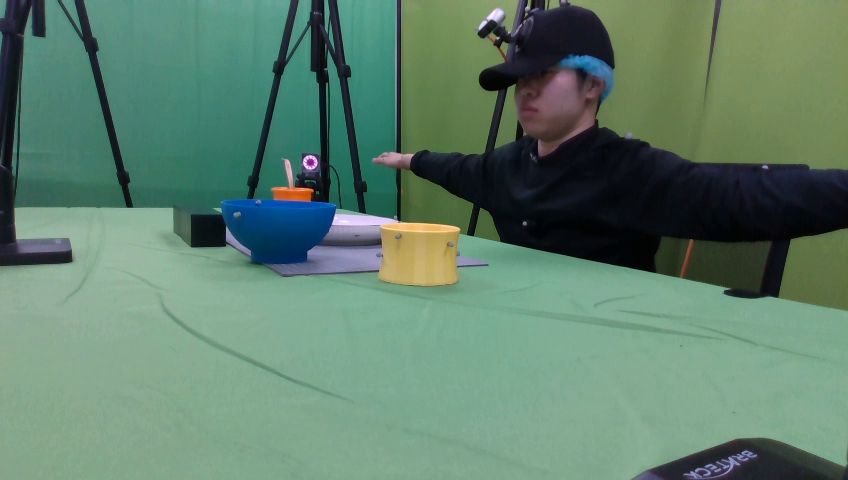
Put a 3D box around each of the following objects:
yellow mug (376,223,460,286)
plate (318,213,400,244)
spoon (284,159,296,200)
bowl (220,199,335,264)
[{"bbox_3d":[-0.002,0.014,0.754,0.099,0.064,0.131,5,7,20],"label":"yellow mug"},{"bbox_3d":[-0.147,-0.020,1.060,0.209,0.038,0.209,3,7,0],"label":"plate"},{"bbox_3d":[-0.302,-0.118,1.370,0.042,0.193,0.021,4,-39,-24],"label":"spoon"},{"bbox_3d":[-0.197,-0.012,0.819,0.151,0.077,0.151,3,8,0],"label":"bowl"}]
